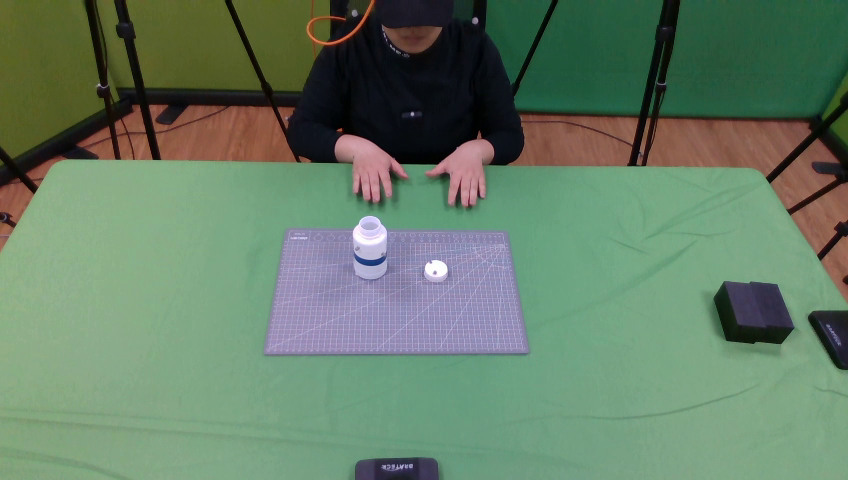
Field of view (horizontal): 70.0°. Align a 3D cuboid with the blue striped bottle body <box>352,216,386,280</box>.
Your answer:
[{"bbox_3d":[-0.100,0.012,1.107,0.063,0.121,0.062,2,46,-2],"label":"blue striped bottle body"}]

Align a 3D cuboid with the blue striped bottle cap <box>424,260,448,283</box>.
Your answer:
[{"bbox_3d":[0.022,0.059,1.145,0.044,0.021,0.044,2,47,-2],"label":"blue striped bottle cap"}]
